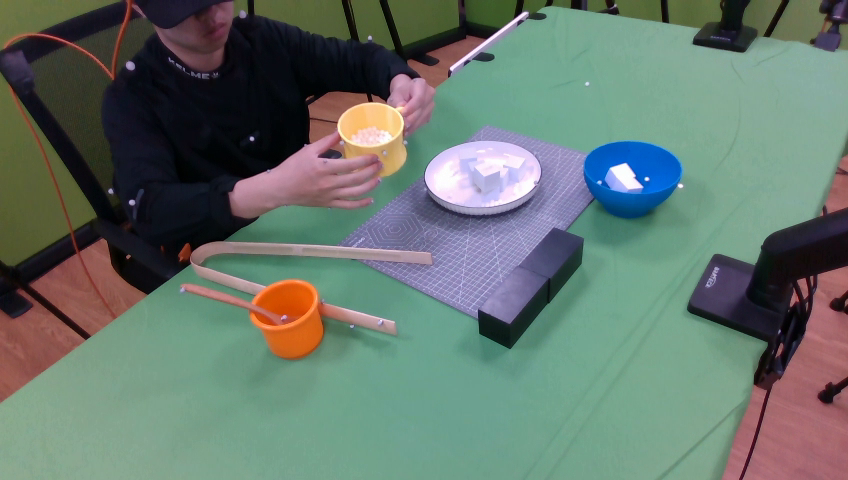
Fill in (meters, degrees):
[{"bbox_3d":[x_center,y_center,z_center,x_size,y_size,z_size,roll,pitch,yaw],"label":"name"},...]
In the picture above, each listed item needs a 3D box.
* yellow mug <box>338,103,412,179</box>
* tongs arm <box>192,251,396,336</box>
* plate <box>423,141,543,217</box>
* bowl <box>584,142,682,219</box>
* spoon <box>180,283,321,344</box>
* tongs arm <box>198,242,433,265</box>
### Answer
[{"bbox_3d":[-0.066,-0.160,0.925,0.099,0.064,0.131,37,60,26],"label":"yellow mug"},{"bbox_3d":[-0.203,0.074,0.903,0.382,0.026,0.051,11,44,22],"label":"tongs arm"},{"bbox_3d":[0.103,-0.103,1.059,0.207,0.039,0.206,-4,40,4],"label":"plate"},{"bbox_3d":[0.333,-0.087,0.980,0.151,0.077,0.150,-4,40,3],"label":"bowl"},{"bbox_3d":[-0.223,0.093,0.794,0.021,0.195,0.041,-42,34,29],"label":"spoon"},{"bbox_3d":[-0.176,0.024,0.960,0.386,0.028,0.028,2,45,12],"label":"tongs arm"}]
